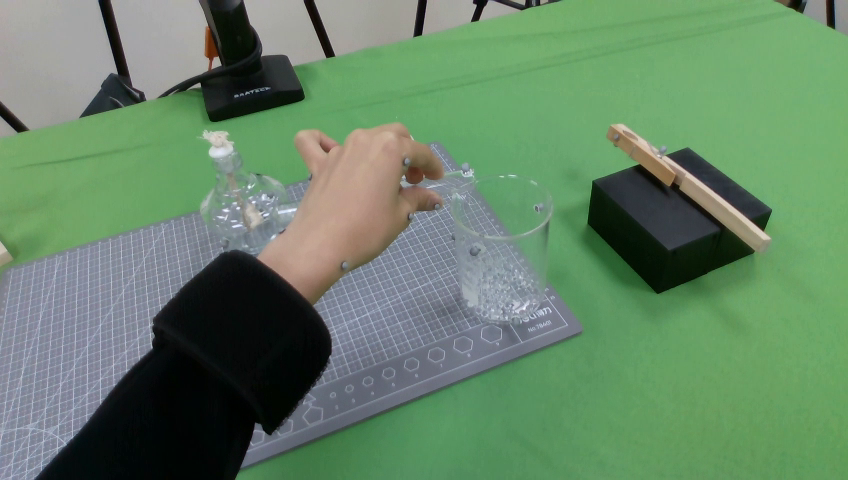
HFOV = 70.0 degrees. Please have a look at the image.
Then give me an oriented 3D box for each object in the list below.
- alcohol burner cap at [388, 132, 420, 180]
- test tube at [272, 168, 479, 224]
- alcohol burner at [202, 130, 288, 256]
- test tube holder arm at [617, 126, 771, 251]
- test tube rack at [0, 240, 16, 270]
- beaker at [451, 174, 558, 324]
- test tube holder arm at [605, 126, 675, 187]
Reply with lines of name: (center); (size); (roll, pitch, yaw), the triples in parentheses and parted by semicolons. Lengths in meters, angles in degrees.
alcohol burner cap: (-0.023, -0.090, 0.627); (0.034, 0.048, 0.033); (-3, 43, 3)
test tube: (-0.035, -0.031, 0.431); (0.150, 0.017, 0.017); (-10, 43, 4)
alcohol burner: (-0.165, -0.044, 0.543); (0.078, 0.120, 0.077); (-5, 42, 5)
test tube holder arm: (0.216, -0.049, 0.506); (0.013, 0.015, 0.176); (-15, 43, -22)
test tube rack: (-0.507, 0.039, 0.520); (0.066, 0.086, 0.242); (32, 55, 33)
beaker: (0.059, 0.009, 0.470); (0.083, 0.101, 0.074); (26, 52, 31)
test tube holder arm: (0.192, -0.075, 0.535); (0.010, 0.015, 0.087); (-14, 43, -21)
